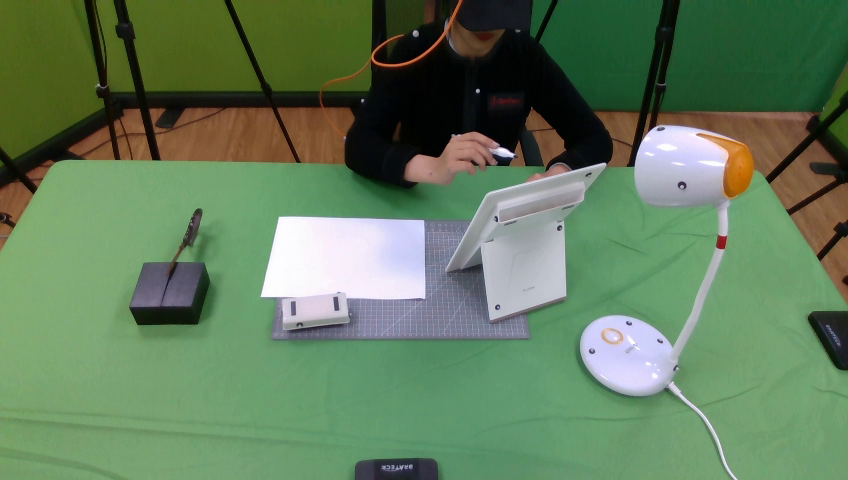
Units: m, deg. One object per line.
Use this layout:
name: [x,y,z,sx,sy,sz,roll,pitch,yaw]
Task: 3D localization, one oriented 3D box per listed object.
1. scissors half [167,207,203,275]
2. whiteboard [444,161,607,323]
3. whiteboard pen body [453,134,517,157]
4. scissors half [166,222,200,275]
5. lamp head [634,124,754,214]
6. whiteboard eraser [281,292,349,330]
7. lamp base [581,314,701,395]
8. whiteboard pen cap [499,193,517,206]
scissors half: [-0.436,0.000,1.104,0.013,0.040,0.174,21,44,-14]
whiteboard: [0.186,0.025,1.029,0.217,0.306,0.143,-14,68,-18]
whiteboard pen body: [0.112,-0.174,1.124,0.140,0.017,0.017,24,48,32]
scissors half: [-0.444,0.015,1.116,0.013,0.040,0.174,17,27,-11]
lamp head: [0.351,-0.089,0.776,0.112,0.113,0.122,-30,30,-28]
whiteboard eraser: [-0.189,0.124,1.045,0.113,0.042,0.055,-6,46,-10]
lamp base: [0.361,0.144,0.973,0.178,0.181,0.160,34,53,23]
whiteboard pen cap: [0.168,-0.080,1.219,0.033,0.018,0.018,22,45,-13]
